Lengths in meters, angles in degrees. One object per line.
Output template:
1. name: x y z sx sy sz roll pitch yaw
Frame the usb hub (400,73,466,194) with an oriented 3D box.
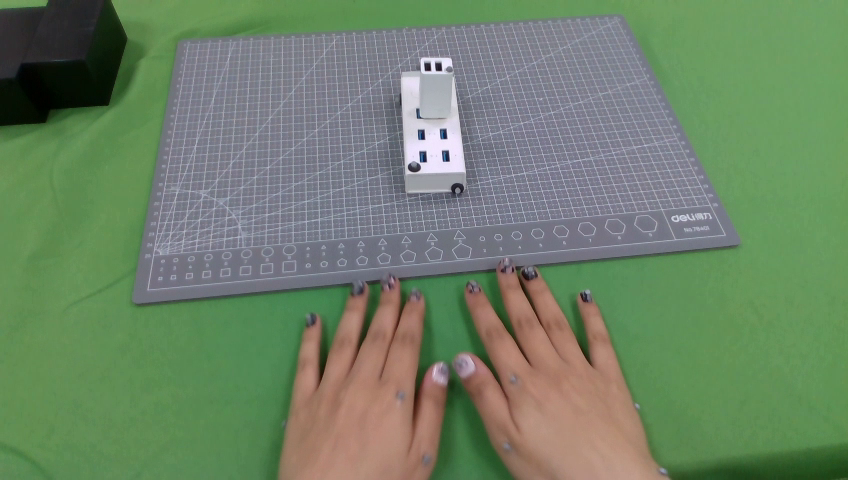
1. usb hub: 0.005 -0.093 0.514 0.049 0.025 0.124 -2 54 -2

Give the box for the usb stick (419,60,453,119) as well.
1. usb stick: 0.009 -0.117 0.495 0.027 0.059 0.021 -5 54 -2
